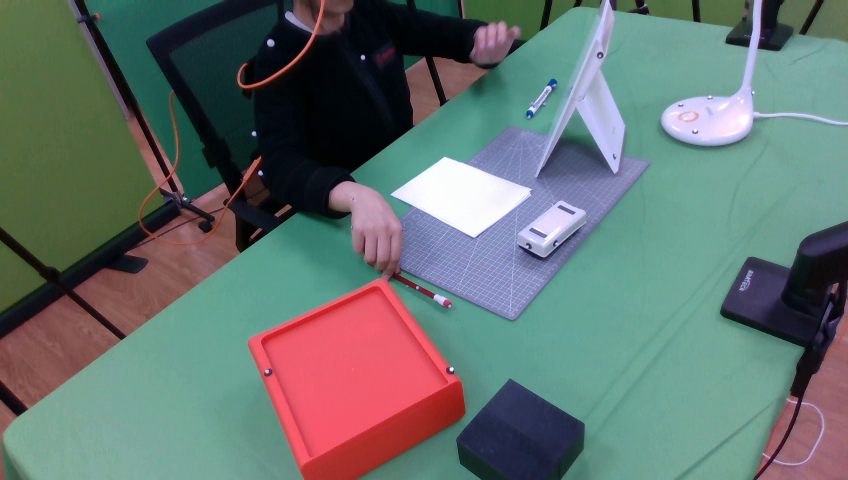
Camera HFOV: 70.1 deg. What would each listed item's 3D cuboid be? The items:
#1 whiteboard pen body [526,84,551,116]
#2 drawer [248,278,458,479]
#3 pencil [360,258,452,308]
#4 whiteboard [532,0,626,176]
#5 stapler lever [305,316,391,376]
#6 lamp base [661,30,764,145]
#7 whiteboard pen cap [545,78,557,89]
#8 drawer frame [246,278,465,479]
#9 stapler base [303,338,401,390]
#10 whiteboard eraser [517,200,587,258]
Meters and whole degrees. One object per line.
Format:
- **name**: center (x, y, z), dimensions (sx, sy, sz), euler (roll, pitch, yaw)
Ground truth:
- **whiteboard pen body**: center (0.251, -0.305, 1.298), dimensions (0.017, 0.017, 0.141), euler (15, 45, 26)
- **drawer**: center (-0.092, 0.167, 0.756), dimensions (0.195, 0.073, 0.210), euler (-24, 43, -18)
- **pencil**: center (-0.033, 0.062, 0.922), dimensions (0.192, 0.012, 0.012), euler (24, 50, 36)
- **whiteboard**: center (0.321, -0.258, 1.049), dimensions (0.144, 0.306, 0.217), euler (22, 45, 5)
- **stapler lever**: center (-0.100, 0.137, 0.789), dimensions (0.118, 0.040, 0.026), euler (-23, 44, -12)
- **lamp base**: center (0.535, -0.287, 1.096), dimensions (0.179, 0.181, 0.159), euler (-10, 40, -4)
- **whiteboard pen cap**: center (0.280, -0.344, 1.335), dimensions (0.018, 0.018, 0.033), euler (15, 45, 26)
- **drawer frame**: center (-0.088, 0.168, 0.752), dimensions (0.202, 0.083, 0.211), euler (-24, 43, -18)
- **stapler base**: center (-0.096, 0.160, 0.813), dimensions (0.131, 0.024, 0.041), euler (-17, 43, -17)
- **whiteboard eraser**: center (0.201, -0.016, 0.943), dimensions (0.113, 0.042, 0.055), euler (-37, 46, -29)
